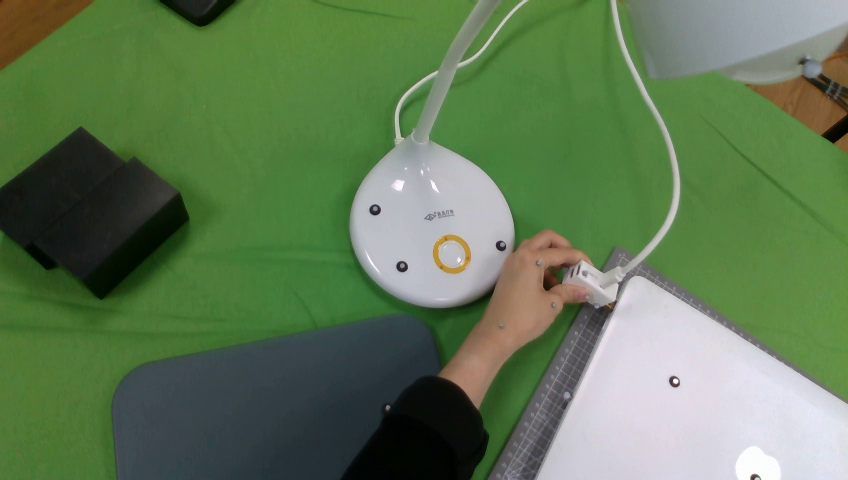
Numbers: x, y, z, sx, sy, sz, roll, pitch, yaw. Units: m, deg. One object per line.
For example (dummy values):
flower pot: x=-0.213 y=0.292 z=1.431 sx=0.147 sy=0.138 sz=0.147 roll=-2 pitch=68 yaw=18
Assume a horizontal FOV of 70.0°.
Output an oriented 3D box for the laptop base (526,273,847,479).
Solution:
laptop base: x=0.286 y=0.212 z=0.550 sx=0.354 sy=0.023 sz=0.234 roll=32 pitch=69 yaw=1

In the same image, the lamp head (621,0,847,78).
lamp head: x=0.115 y=-0.137 z=0.229 sx=0.112 sy=0.112 sz=0.123 roll=-34 pitch=103 yaw=-23

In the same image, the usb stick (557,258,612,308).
usb stick: x=0.155 y=0.043 z=0.566 sx=0.059 sy=0.027 sz=0.021 roll=34 pitch=50 yaw=-18

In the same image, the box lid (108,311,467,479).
box lid: x=-0.082 y=0.245 z=0.457 sx=0.264 sy=0.015 sz=0.369 roll=-10 pitch=72 yaw=-16

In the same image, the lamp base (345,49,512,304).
lamp base: x=0.014 y=-0.056 z=0.505 sx=0.161 sy=0.181 sz=0.178 roll=-24 pitch=72 yaw=-21

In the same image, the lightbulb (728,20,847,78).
lightbulb: x=0.139 y=-0.117 z=0.227 sx=0.060 sy=0.059 sz=0.108 roll=-5 pitch=109 yaw=-15

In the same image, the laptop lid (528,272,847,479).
laptop lid: x=0.287 y=0.209 z=0.538 sx=0.356 sy=0.013 sz=0.241 roll=33 pitch=68 yaw=2
